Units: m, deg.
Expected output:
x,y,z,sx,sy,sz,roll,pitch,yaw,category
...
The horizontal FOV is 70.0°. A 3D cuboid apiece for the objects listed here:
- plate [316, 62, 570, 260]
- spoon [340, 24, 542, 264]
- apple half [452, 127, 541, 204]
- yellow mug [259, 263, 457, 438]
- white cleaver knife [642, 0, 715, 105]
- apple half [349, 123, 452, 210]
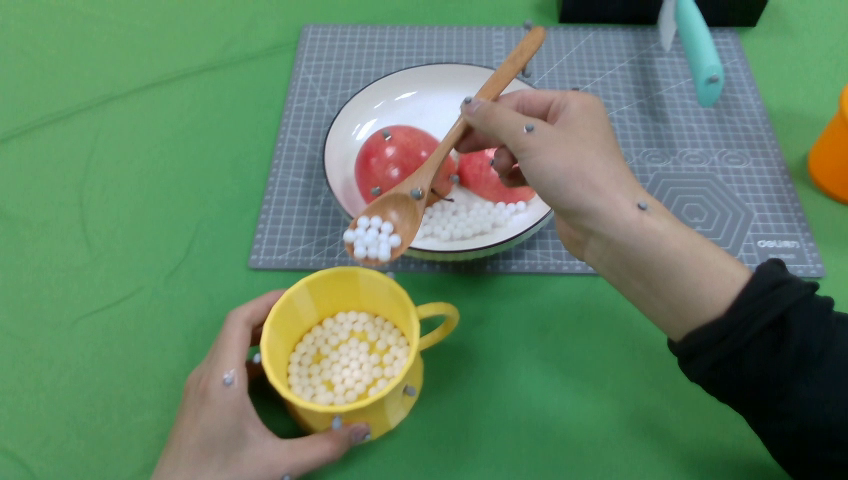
x,y,z,sx,sy,sz,roll,pitch,yaw,category
0.015,-0.068,0.510,0.209,0.038,0.207,0,57,1,plate
0.016,-0.063,0.382,0.041,0.022,0.193,37,88,19,spoon
0.060,-0.071,0.503,0.081,0.033,0.080,0,59,0,apple half
-0.038,0.069,0.407,0.131,0.064,0.099,-18,59,-13,yellow mug
0.238,-0.228,0.596,0.021,0.066,0.283,-1,53,6,white cleaver knife
-0.021,-0.063,0.488,0.081,0.054,0.074,-38,61,-21,apple half
